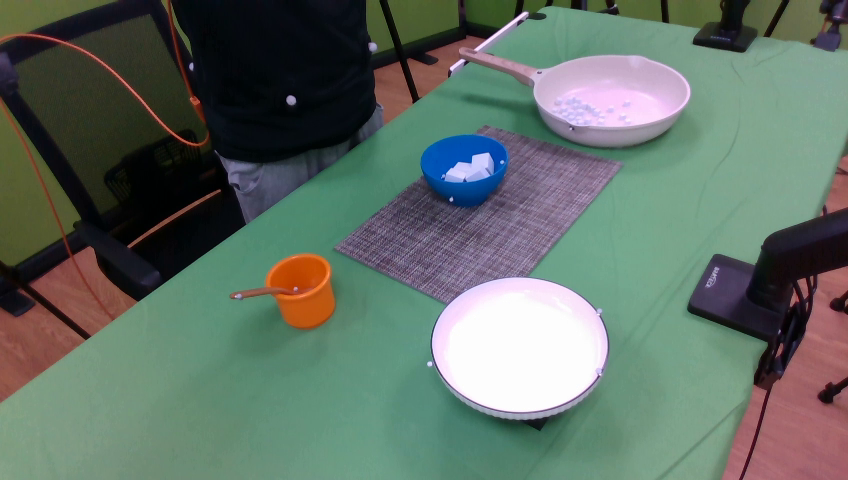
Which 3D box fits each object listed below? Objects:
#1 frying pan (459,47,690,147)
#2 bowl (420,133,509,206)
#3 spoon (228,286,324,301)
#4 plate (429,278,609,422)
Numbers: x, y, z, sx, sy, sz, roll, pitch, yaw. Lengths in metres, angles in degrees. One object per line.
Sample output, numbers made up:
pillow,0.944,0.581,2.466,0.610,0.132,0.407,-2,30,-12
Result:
frying pan,0.280,-0.317,1.234,0.485,0.103,0.307,28,50,23
bowl,0.071,-0.112,1.038,0.151,0.077,0.150,-4,40,4
spoon,-0.197,0.071,0.816,0.041,0.195,0.021,12,88,23
plate,0.111,0.129,0.716,0.207,0.039,0.206,-5,39,4
